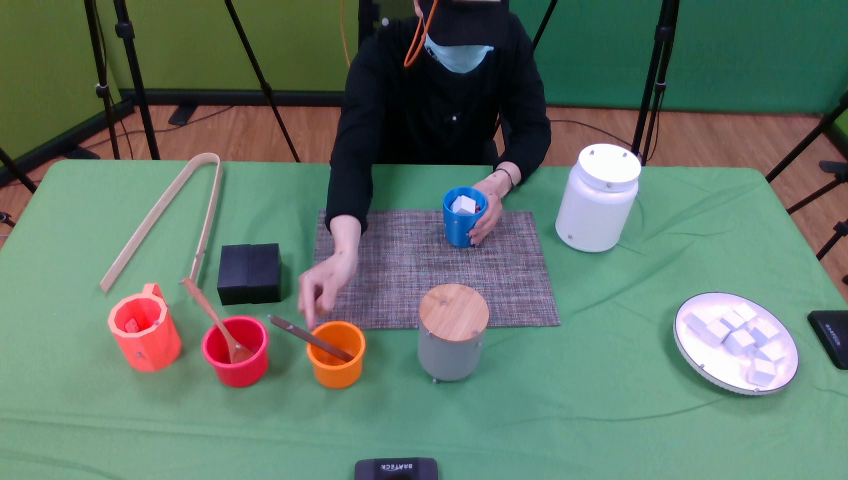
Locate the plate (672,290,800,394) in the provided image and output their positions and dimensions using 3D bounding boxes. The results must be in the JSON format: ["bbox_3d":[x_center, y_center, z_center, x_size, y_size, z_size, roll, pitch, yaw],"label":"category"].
[{"bbox_3d":[0.533,0.179,1.050,0.208,0.039,0.206,2,46,-2],"label":"plate"}]

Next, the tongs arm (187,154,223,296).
[{"bbox_3d":[-0.442,-0.045,1.199,0.051,0.027,0.382,-3,46,1],"label":"tongs arm"}]

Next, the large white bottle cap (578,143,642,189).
[{"bbox_3d":[0.344,-0.139,1.123,0.115,0.018,0.114,2,46,-2],"label":"large white bottle cap"}]

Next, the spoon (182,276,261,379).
[{"bbox_3d":[-0.321,0.137,0.957,0.041,0.021,0.194,-36,102,-33],"label":"spoon"}]

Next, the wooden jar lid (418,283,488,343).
[{"bbox_3d":[0.045,0.114,0.931,0.108,0.021,0.107,2,49,-2],"label":"wooden jar lid"}]

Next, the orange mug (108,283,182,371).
[{"bbox_3d":[-0.445,0.134,0.982,0.083,0.101,0.125,-1,50,-5],"label":"orange mug"}]

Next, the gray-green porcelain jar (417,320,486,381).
[{"bbox_3d":[0.042,0.158,0.975,0.106,0.127,0.105,2,46,-2],"label":"gray-green porcelain jar"}]

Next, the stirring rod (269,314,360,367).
[{"bbox_3d":[-0.168,0.160,0.950,0.177,0.006,0.014,36,42,-30],"label":"stirring rod"}]

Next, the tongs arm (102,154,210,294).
[{"bbox_3d":[-0.524,-0.046,1.203,0.028,0.028,0.385,4,45,13],"label":"tongs arm"}]

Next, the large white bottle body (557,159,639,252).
[{"bbox_3d":[0.340,-0.081,1.184,0.131,0.185,0.130,2,46,-2],"label":"large white bottle body"}]

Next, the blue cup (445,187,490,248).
[{"bbox_3d":[0.079,-0.039,1.188,0.093,0.101,0.092,3,45,-3],"label":"blue cup"}]
